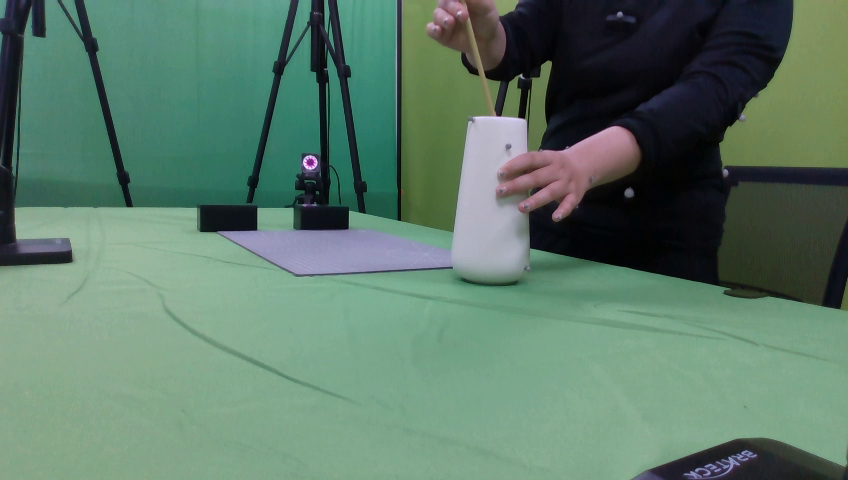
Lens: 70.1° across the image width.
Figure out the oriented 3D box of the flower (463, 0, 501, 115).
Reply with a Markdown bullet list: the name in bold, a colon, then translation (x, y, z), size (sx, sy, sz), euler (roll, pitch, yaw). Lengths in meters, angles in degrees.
- **flower**: translation (0.035, -0.311, 0.691), size (0.038, 0.362, 0.044), euler (6, 37, 44)

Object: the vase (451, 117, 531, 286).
- **vase**: translation (0.084, -0.047, 0.737), size (0.098, 0.200, 0.098), euler (1, 6, 0)
